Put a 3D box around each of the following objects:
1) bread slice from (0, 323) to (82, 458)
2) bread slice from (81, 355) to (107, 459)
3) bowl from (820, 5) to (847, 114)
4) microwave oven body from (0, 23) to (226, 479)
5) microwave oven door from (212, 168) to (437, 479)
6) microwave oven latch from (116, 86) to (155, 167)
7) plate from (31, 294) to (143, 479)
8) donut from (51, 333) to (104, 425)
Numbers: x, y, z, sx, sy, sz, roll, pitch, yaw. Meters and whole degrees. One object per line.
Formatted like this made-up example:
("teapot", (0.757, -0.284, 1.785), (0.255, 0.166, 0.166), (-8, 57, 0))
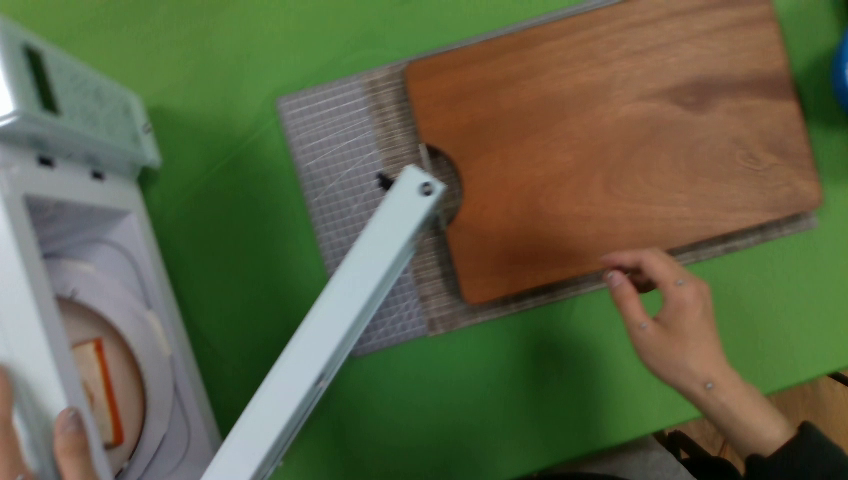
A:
("bread slice", (-0.370, 0.141, 0.530), (0.134, 0.018, 0.107), (-18, 92, 10))
("bread slice", (-0.383, 0.159, 0.590), (0.131, 0.019, 0.105), (6, 90, 0))
("bowl", (0.483, -0.187, 0.640), (0.151, 0.077, 0.151), (0, 90, 0))
("microwave oven body", (-0.395, 0.095, 0.541), (0.326, 0.260, 0.441), (-20, 90, -1))
("microwave oven door", (-0.096, 0.103, 0.539), (0.039, 0.244, 0.355), (32, 89, 1))
("microwave oven latch", (-0.314, -0.119, 0.639), (0.030, 0.029, 0.079), (-20, 90, -1))
("plate", (-0.377, 0.155, 0.590), (0.208, 0.039, 0.207), (0, 89, -5))
("donut", (-0.353, 0.137, 0.570), (0.099, 0.048, 0.099), (0, 86, 0))
